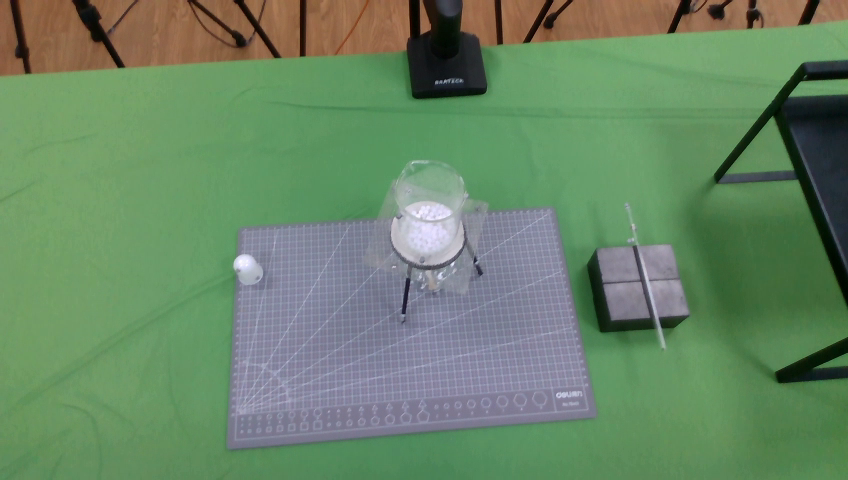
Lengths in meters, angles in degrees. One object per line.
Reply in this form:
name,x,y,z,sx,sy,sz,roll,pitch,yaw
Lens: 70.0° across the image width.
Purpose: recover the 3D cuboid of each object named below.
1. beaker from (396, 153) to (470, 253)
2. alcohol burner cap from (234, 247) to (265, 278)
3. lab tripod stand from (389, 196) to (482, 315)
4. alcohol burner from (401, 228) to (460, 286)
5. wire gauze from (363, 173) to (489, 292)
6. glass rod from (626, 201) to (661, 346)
beaker,0.005,-0.037,0.660,0.074,0.101,0.083,-26,68,-14
alcohol burner cap,-0.232,0.027,0.800,0.034,0.048,0.033,0,65,1
lab tripod stand,0.007,0.013,0.763,0.148,0.132,0.147,1,63,-2
alcohol burner,0.009,0.014,0.773,0.078,0.120,0.077,1,65,-2
wire gauze,0.005,-0.013,0.703,0.125,0.011,0.121,17,67,3
glass rod,0.281,0.039,0.777,0.008,0.008,0.198,-2,66,-2
